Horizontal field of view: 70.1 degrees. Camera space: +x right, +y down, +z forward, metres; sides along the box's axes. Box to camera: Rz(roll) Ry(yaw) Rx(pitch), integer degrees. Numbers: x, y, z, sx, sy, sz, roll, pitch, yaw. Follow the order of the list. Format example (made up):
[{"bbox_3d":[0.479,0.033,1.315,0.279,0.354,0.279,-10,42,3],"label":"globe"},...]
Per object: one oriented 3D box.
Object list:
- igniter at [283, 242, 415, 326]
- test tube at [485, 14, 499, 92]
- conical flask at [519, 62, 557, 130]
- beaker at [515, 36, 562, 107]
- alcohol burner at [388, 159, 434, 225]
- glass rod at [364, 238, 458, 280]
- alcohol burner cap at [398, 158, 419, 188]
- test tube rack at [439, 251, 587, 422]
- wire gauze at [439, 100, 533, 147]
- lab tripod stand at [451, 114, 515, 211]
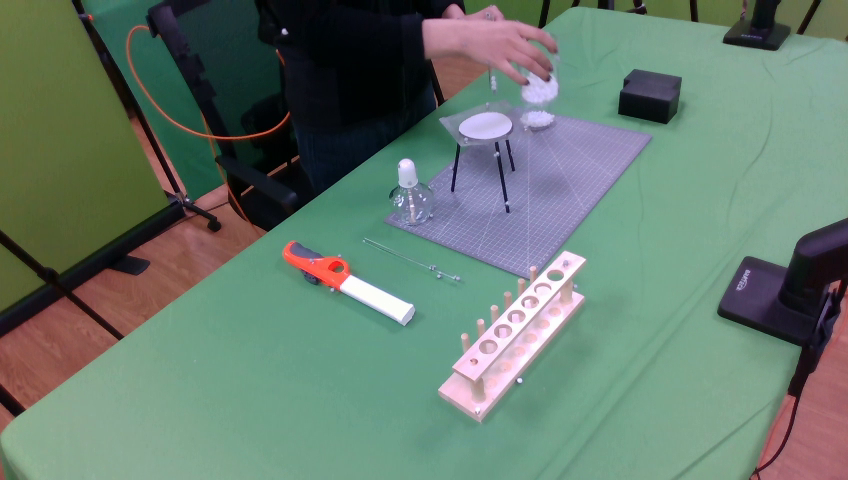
[{"bbox_3d":[-0.126,0.062,0.931,0.274,0.025,0.057,24,61,33],"label":"igniter"},{"bbox_3d":[0.122,-0.333,1.088,0.017,0.151,0.017,-6,46,6],"label":"test tube"},{"bbox_3d":[0.225,-0.287,1.198,0.075,0.122,0.075,-6,40,5],"label":"conical flask"},{"bbox_3d":[0.198,-0.288,1.034,0.073,0.101,0.084,7,48,22],"label":"beaker"},{"bbox_3d":[-0.023,-0.084,1.013,0.078,0.119,0.077,-4,39,4],"label":"alcohol burner"},{"bbox_3d":[-0.026,0.029,0.966,0.198,0.008,0.008,21,49,35],"label":"glass rod"},{"bbox_3d":[-0.027,-0.111,0.989,0.034,0.048,0.033,-3,47,4],"label":"alcohol burner cap"},{"bbox_3d":[0.118,0.111,0.780,0.066,0.085,0.243,26,51,35],"label":"test tube rack"},{"bbox_3d":[0.100,-0.190,0.994,0.125,0.011,0.120,-15,39,-7],"label":"wire gauze"},{"bbox_3d":[0.113,-0.140,1.037,0.148,0.132,0.147,-6,38,5],"label":"lab tripod stand"}]
